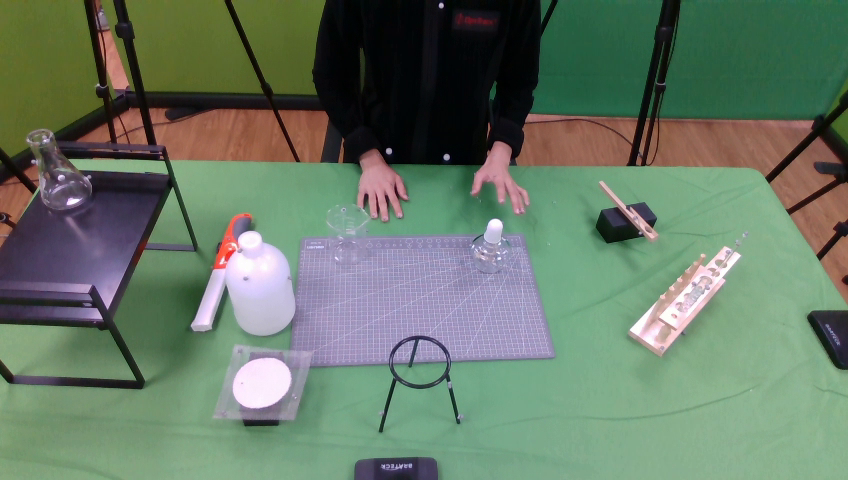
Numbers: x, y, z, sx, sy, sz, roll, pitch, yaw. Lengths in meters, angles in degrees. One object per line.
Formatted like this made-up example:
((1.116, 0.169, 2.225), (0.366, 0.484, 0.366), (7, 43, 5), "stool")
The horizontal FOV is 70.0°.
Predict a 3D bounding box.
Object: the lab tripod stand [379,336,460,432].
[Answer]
((-0.011, 0.214, 0.911), (0.148, 0.132, 0.147), (1, 45, 0), "lab tripod stand")

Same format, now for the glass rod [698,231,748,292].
((0.514, 0.044, 1.051), (0.008, 0.200, 0.008), (1, 55, -1), "glass rod")

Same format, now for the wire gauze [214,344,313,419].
((-0.241, 0.213, 0.915), (0.121, 0.011, 0.124), (5, 46, 1), "wire gauze")

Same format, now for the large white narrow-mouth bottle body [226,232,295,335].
((-0.270, 0.065, 0.995), (0.102, 0.195, 0.101), (2, 46, -2), "large white narrow-mouth bottle body")

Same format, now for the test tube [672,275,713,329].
((0.438, 0.106, 1.007), (0.017, 0.151, 0.017), (4, 51, -4), "test tube")

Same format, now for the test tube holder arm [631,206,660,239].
((0.432, -0.035, 1.192), (0.010, 0.015, 0.087), (-24, 51, -11), "test tube holder arm")

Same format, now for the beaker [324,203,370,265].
((-0.142, -0.009, 1.137), (0.084, 0.101, 0.073), (-2, 47, -7), "beaker")

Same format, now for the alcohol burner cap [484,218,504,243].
((0.130, -0.021, 1.106), (0.034, 0.048, 0.033), (3, 51, -4), "alcohol burner cap")

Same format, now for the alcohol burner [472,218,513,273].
((0.128, 0.005, 1.132), (0.078, 0.120, 0.077), (0, 47, 0), "alcohol burner")

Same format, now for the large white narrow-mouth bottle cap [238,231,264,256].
((-0.266, 0.006, 0.933), (0.038, 0.024, 0.037), (2, 46, -2), "large white narrow-mouth bottle cap")

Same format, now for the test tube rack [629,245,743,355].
((0.474, 0.095, 1.091), (0.242, 0.085, 0.066), (-34, 56, -31), "test tube rack")

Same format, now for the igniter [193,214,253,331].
((-0.368, 0.050, 1.119), (0.057, 0.025, 0.275), (-3, 46, 8), "igniter")

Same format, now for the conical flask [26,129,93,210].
((-0.575, -0.113, 0.946), (0.075, 0.122, 0.075), (2, 46, -2), "conical flask")

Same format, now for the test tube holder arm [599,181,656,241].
((0.407, -0.062, 1.219), (0.013, 0.015, 0.177), (-24, 51, -12), "test tube holder arm")
